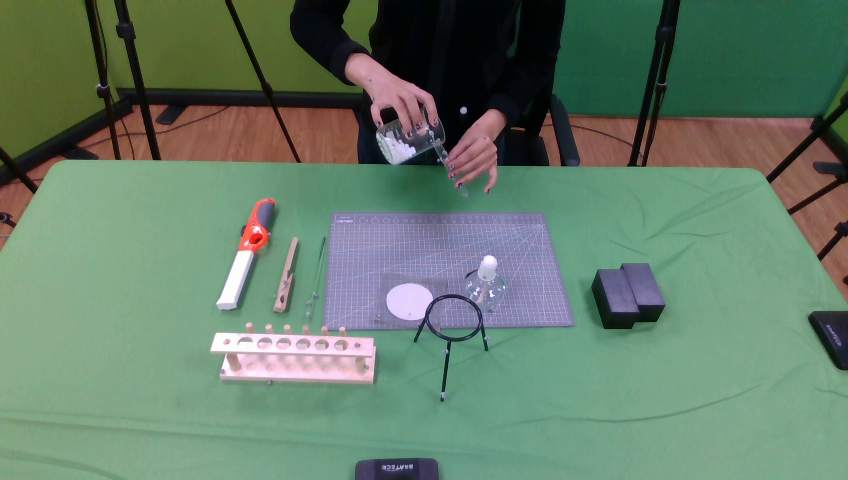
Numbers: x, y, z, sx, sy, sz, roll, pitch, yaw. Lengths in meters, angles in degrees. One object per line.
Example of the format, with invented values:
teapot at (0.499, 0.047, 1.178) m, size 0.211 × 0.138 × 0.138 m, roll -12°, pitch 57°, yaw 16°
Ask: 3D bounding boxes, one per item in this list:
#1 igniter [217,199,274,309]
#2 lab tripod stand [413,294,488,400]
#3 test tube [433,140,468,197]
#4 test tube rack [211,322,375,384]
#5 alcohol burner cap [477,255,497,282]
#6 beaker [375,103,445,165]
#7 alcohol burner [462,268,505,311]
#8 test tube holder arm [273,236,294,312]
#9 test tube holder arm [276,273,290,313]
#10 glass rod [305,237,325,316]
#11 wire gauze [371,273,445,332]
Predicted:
igniter at (-0.336, 0.017, 1.153) m, size 0.057 × 0.025 × 0.275 m, roll -2°, pitch 45°, yaw 8°
lab tripod stand at (0.044, 0.159, 0.972) m, size 0.148 × 0.132 × 0.147 m, roll 3°, pitch 44°, yaw -2°
test tube at (0.050, -0.129, 1.124) m, size 0.017 × 0.151 × 0.017 m, roll -15°, pitch 49°, yaw 18°
test tube rack at (-0.202, 0.176, 0.969) m, size 0.242 × 0.085 × 0.066 m, roll 3°, pitch 46°, yaw -2°
alcohol burner cap at (0.110, 0.047, 1.046) m, size 0.034 × 0.048 × 0.033 m, roll 2°, pitch 52°, yaw -2°
beaker at (-0.026, -0.176, 1.032) m, size 0.100 × 0.084 × 0.073 m, roll -28°, pitch 47°, yaw -13°
alcohol burner at (0.108, 0.071, 1.072) m, size 0.078 × 0.119 × 0.077 m, roll 4°, pitch 45°, yaw -4°
test tube holder arm at (-0.259, 0.059, 1.123) m, size 0.013 × 0.015 × 0.177 m, roll 28°, pitch 39°, yaw -28°
test tube holder arm at (-0.254, 0.093, 1.094) m, size 0.010 × 0.015 × 0.087 m, roll 29°, pitch 38°, yaw -27°
glass rod at (-0.202, 0.063, 1.131) m, size 0.008 × 0.008 × 0.198 m, roll 3°, pitch 44°, yaw 0°
wire gauze at (-0.028, 0.109, 1.099) m, size 0.125 × 0.011 × 0.121 m, roll 7°, pitch 45°, yaw 4°
